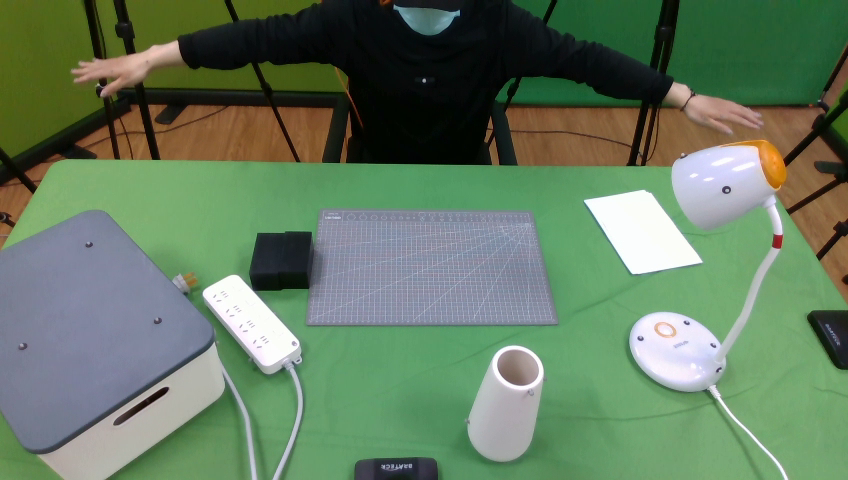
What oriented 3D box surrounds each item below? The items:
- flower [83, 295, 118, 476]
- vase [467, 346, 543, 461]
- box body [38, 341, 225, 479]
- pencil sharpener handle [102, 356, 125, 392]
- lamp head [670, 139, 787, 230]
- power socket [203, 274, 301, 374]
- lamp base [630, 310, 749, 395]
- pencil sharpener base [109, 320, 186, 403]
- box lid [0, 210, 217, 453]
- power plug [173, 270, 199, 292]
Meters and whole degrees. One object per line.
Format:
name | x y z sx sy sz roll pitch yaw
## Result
flower | -0.513 0.210 0.960 0.044 0.038 0.359 5 35 -32
vase | 0.116 0.234 0.861 0.098 0.201 0.097 1 47 -1
box body | -0.504 0.153 0.917 0.362 0.161 0.254 36 54 27
pencil sharpener handle | -0.460 0.200 0.887 0.030 0.068 0.036 -30 61 -27
lamp head | 0.415 -0.079 0.812 0.113 0.123 0.112 12 70 -37
power socket | -0.296 0.140 1.035 0.072 0.033 0.225 -32 57 -29
lamp base | 0.447 0.142 0.984 0.161 0.181 0.178 -24 55 -24
pencil sharpener base | -0.419 0.187 0.919 0.077 0.107 0.061 -30 54 -27
box lid | -0.501 0.102 0.865 0.369 0.015 0.263 36 54 27
power plug | -0.420 0.090 1.084 0.052 0.035 0.072 -31 86 -18
